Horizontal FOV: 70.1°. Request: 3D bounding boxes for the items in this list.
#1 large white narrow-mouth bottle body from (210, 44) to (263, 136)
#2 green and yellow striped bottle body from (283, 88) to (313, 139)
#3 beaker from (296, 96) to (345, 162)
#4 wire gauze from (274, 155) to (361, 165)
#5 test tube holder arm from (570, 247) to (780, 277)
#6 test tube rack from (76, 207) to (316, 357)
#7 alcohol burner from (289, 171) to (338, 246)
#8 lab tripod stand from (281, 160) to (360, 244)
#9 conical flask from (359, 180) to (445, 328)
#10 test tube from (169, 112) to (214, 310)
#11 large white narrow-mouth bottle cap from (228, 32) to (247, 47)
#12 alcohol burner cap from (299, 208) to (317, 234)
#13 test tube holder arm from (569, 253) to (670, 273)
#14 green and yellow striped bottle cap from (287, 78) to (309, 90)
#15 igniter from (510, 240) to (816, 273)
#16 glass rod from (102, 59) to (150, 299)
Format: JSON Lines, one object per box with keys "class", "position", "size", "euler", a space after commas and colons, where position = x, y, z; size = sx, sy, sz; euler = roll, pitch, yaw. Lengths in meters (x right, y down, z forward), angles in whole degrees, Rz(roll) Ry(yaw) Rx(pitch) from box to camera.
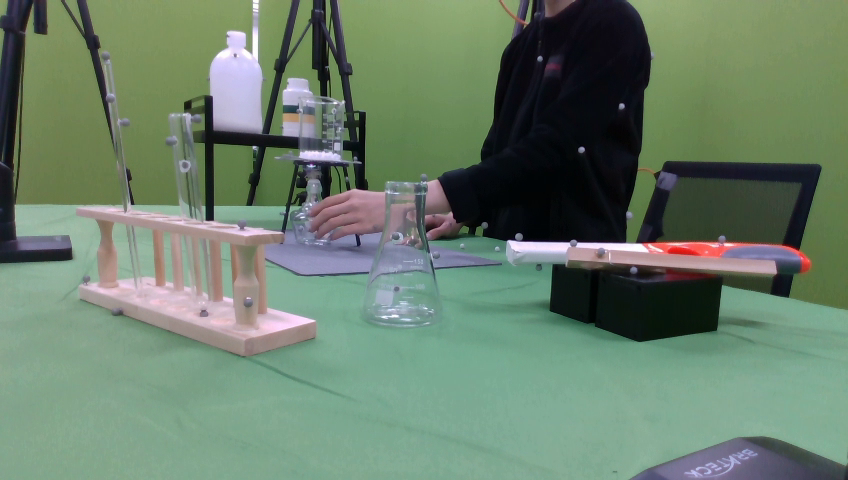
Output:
{"class": "large white narrow-mouth bottle body", "position": [-0.369, -0.305, 1.194], "size": [0.102, 0.194, 0.102], "euler": [3, 8, 0]}
{"class": "green and yellow striped bottle body", "position": [-0.266, -0.275, 1.275], "size": [0.063, 0.119, 0.063], "euler": [3, 7, 0]}
{"class": "beaker", "position": [-0.163, -0.175, 0.966], "size": [0.083, 0.100, 0.074], "euler": [7, 8, 34]}
{"class": "wire gauze", "position": [-0.174, -0.129, 0.978], "size": [0.125, 0.011, 0.121], "euler": [-2, 6, -19]}
{"class": "test tube holder arm", "position": [0.217, 0.019, 0.525], "size": [0.178, 0.015, 0.013], "euler": [3, -23, 3]}
{"class": "test tube rack", "position": [-0.196, 0.023, 0.499], "size": [0.241, 0.085, 0.067], "euler": [8, 9, 36]}
{"class": "alcohol burner", "position": [-0.177, -0.051, 0.968], "size": [0.078, 0.119, 0.078], "euler": [0, 6, 0]}
{"class": "lab tripod stand", "position": [-0.170, -0.063, 0.983], "size": [0.148, 0.131, 0.148], "euler": [1, 6, 0]}
{"class": "conical flask", "position": [-0.017, 0.010, 0.522], "size": [0.075, 0.122, 0.075], "euler": [2, 7, 0]}
{"class": "test tube", "position": [-0.175, -0.020, 0.455], "size": [0.017, 0.150, 0.017], "euler": [-3, 9, 1]}
{"class": "large white narrow-mouth bottle cap", "position": [-0.364, -0.390, 1.180], "size": [0.038, 0.024, 0.037], "euler": [3, 8, 0]}
{"class": "alcohol burner cap", "position": [-0.213, -0.035, 1.110], "size": [0.034, 0.048, 0.034], "euler": [2, 7, 0]}
{"class": "test tube holder arm", "position": [0.172, 0.019, 0.532], "size": [0.088, 0.015, 0.010], "euler": [3, -23, 3]}
{"class": "green and yellow striped bottle cap", "position": [-0.265, -0.326, 1.268], "size": [0.045, 0.020, 0.045], "euler": [4, 6, 0]}
{"class": "igniter", "position": [0.220, 0.015, 0.565], "size": [0.277, 0.025, 0.057], "euler": [2, 16, 0]}
{"class": "glass rod", "position": [-0.244, -0.045, 0.496], "size": [0.008, 0.199, 0.008], "euler": [-3, 13, 1]}
